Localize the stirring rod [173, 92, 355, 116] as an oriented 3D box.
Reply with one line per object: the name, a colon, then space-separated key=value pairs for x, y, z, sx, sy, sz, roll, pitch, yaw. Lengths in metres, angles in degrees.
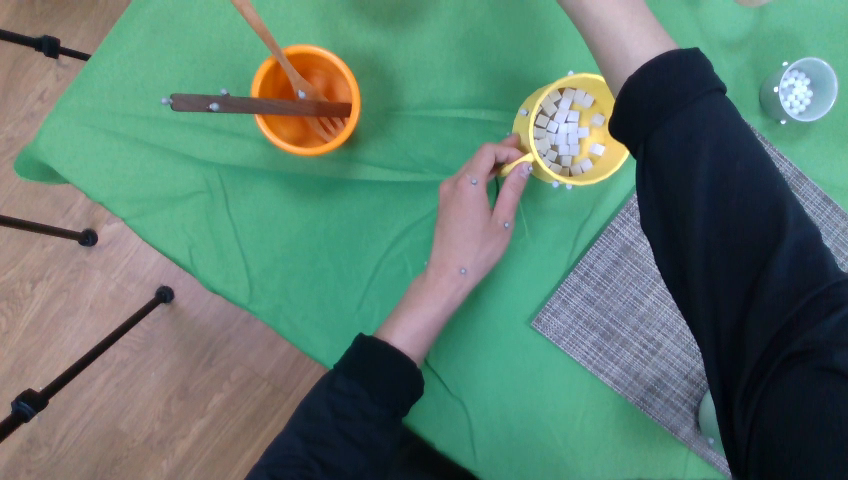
stirring rod: x=-0.128 y=-0.115 z=0.517 sx=0.177 sy=0.006 sz=0.014 roll=-10 pitch=102 yaw=-46

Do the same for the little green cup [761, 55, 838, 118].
little green cup: x=0.373 y=-0.151 z=0.607 sx=0.061 sy=0.038 sz=0.061 roll=-1 pitch=98 yaw=-4

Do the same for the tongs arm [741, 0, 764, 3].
tongs arm: x=0.223 y=-0.389 z=0.530 sx=0.051 sy=0.026 sz=0.385 roll=-24 pitch=97 yaw=-5

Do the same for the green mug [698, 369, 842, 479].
green mug: x=0.356 y=0.176 z=0.613 sx=0.125 sy=0.104 sz=0.093 roll=-36 pitch=98 yaw=0

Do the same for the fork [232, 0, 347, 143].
fork: x=-0.121 y=-0.156 z=0.506 sx=0.028 sy=0.018 sz=0.209 roll=-36 pitch=142 yaw=-2

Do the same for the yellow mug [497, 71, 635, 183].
yellow mug: x=0.128 y=-0.098 z=0.579 sx=0.131 sy=0.064 sz=0.100 roll=-30 pitch=100 yaw=1
